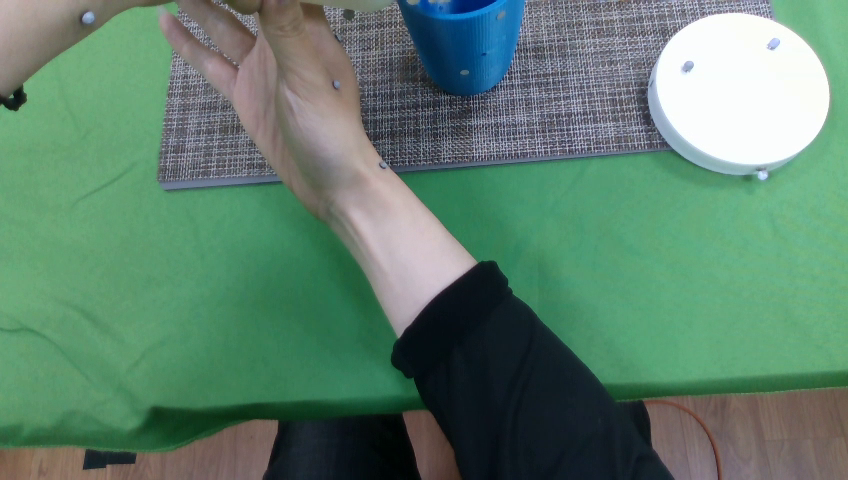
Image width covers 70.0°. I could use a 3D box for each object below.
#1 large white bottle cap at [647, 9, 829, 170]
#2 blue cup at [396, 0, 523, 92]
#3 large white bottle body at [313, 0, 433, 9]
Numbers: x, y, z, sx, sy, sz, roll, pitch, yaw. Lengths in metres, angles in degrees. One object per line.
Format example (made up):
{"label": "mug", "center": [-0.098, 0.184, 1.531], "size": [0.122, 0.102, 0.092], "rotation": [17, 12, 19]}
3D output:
{"label": "large white bottle cap", "center": [0.211, -0.103, 0.410], "size": [0.115, 0.018, 0.114], "rotation": [-1, 75, 3]}
{"label": "blue cup", "center": [0.025, -0.150, 0.398], "size": [0.092, 0.101, 0.092], "rotation": [-2, 71, 7]}
{"label": "large white bottle body", "center": [-0.068, -0.186, 0.288], "size": [0.185, 0.131, 0.130], "rotation": [5, 72, -11]}
